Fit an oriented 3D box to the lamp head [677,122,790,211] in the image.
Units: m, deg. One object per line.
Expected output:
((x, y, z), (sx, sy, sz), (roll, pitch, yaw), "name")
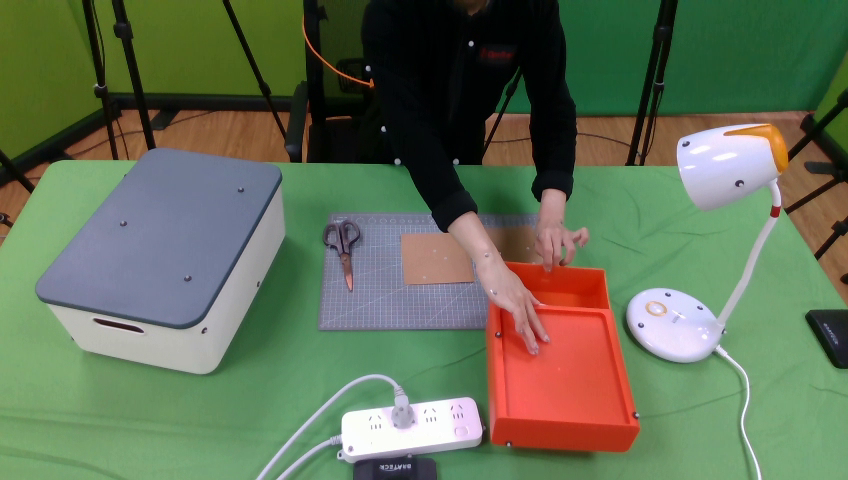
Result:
((0.423, -0.104, 0.819), (0.122, 0.113, 0.112), (-13, 33, 40), "lamp head")

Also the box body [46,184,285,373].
((-0.414, 0.029, 1.039), (0.254, 0.161, 0.362), (10, 46, 5), "box body")

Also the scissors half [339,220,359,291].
((-0.144, 0.026, 1.162), (0.040, 0.013, 0.174), (-7, 50, 1), "scissors half")

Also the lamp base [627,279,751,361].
((0.460, 0.100, 1.027), (0.178, 0.181, 0.160), (27, 51, 17), "lamp base")

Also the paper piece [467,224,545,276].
((0.163, 0.019, 1.199), (0.136, 0.009, 0.137), (-1, 45, -10), "paper piece")

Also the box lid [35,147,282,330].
((-0.411, -0.023, 0.987), (0.263, 0.015, 0.369), (10, 47, 5), "box lid")

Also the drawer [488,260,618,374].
((0.204, 0.135, 0.980), (0.194, 0.073, 0.210), (5, 45, 0), "drawer")

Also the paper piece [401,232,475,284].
((0.025, 0.032, 1.175), (0.135, 0.004, 0.135), (-1, 46, -5), "paper piece")

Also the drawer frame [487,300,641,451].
((0.201, 0.199, 0.919), (0.202, 0.083, 0.212), (4, 44, -1), "drawer frame")

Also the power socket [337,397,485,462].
((-0.018, 0.285, 0.915), (0.227, 0.033, 0.071), (-5, 46, -8), "power socket")

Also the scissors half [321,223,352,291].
((-0.163, 0.031, 1.160), (0.040, 0.013, 0.174), (-17, 51, -14), "scissors half")

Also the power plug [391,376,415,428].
((-0.031, 0.249, 0.917), (0.035, 0.053, 0.072), (3, 46, -1), "power plug")

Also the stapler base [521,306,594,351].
((0.224, 0.138, 0.996), (0.130, 0.024, 0.041), (28, 22, 8), "stapler base")

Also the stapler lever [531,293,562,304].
((0.231, 0.123, 0.991), (0.118, 0.040, 0.027), (21, 21, 11), "stapler lever")
